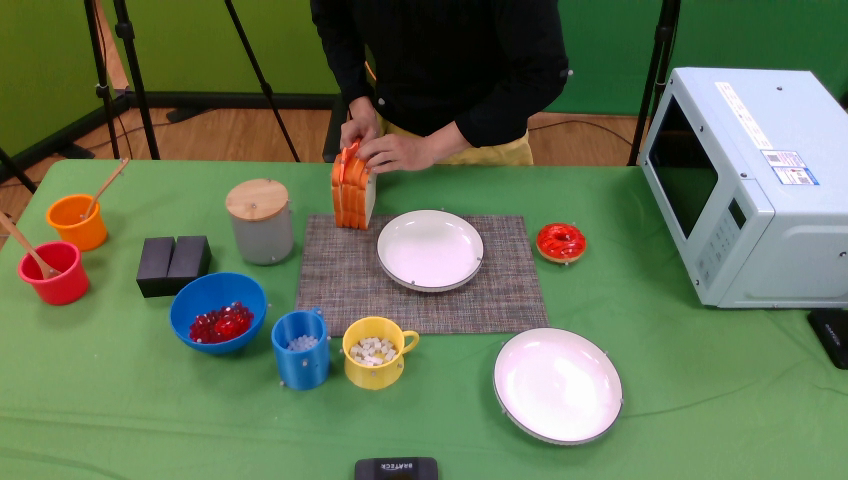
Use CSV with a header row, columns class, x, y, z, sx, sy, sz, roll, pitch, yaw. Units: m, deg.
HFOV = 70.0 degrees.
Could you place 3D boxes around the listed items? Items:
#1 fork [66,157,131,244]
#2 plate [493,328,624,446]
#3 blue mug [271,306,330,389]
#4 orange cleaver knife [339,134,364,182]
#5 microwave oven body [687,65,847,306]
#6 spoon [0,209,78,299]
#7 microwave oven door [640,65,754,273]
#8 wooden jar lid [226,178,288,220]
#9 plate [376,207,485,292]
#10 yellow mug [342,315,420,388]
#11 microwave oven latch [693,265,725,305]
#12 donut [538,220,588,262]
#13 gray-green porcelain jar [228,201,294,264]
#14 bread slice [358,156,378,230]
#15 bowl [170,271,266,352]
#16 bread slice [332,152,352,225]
class,x,y,z,sx,sy,sz,roll,pitch,yaw
fork,-0.608,-0.074,1.132,0.207,0.019,0.028,-52,49,10
plate,0.213,0.236,0.974,0.208,0.039,0.206,2,46,-2
blue mug,-0.188,0.163,0.969,0.082,0.106,0.116,15,47,10
orange cleaver knife,-0.147,-0.170,1.235,0.012,0.077,0.210,8,21,2
microwave oven body,0.669,-0.111,1.176,0.326,0.261,0.439,0,46,-3
spoon,-0.668,0.021,1.040,0.041,0.021,0.194,-41,105,-30
microwave oven door,0.523,-0.147,1.193,0.039,0.245,0.353,0,47,-3
wooden jar lid,-0.296,-0.070,1.081,0.108,0.021,0.107,1,45,-1
plate,0.012,0.021,1.159,0.209,0.038,0.208,2,47,-2
yellow mug,-0.068,0.177,0.990,0.131,0.064,0.099,-15,50,-19
microwave oven latch,0.523,0.081,1.115,0.030,0.029,0.078,3,46,-1
donut,0.273,0.000,1.198,0.099,0.048,0.098,1,47,0
gray-green porcelain jar,-0.299,-0.027,1.126,0.106,0.127,0.105,2,46,-2
bread slice,-0.112,-0.099,1.208,0.018,0.135,0.106,10,48,4
bowl,-0.333,0.132,1.006,0.151,0.077,0.150,2,46,-2
bread slice,-0.165,-0.111,1.211,0.019,0.132,0.104,4,44,4
